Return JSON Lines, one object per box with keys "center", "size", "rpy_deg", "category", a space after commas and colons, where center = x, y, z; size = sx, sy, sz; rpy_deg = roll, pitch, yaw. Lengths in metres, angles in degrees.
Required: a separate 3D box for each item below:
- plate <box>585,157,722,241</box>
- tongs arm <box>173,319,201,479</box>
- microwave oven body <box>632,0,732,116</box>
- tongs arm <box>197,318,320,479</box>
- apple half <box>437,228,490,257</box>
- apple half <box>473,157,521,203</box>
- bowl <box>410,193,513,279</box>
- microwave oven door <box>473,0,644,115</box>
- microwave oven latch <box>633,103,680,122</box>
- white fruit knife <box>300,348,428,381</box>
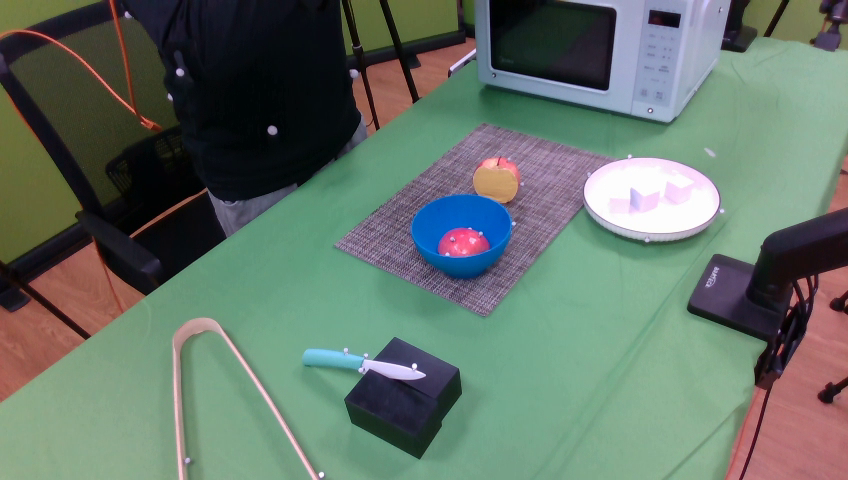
{"center": [0.367, -0.063, 0.979], "size": [0.207, 0.039, 0.206], "rpy_deg": [-4, 40, 4], "category": "plate"}
{"center": [-0.273, 0.234, 0.723], "size": [0.051, 0.026, 0.381], "rpy_deg": [-18, 40, -15], "category": "tongs arm"}
{"center": [0.377, -0.463, 1.267], "size": [0.438, 0.261, 0.327], "rpy_deg": [21, 48, 30], "category": "microwave oven body"}
{"center": [-0.200, 0.208, 0.751], "size": [0.028, 0.028, 0.384], "rpy_deg": [-31, 45, -23], "category": "tongs arm"}
{"center": [0.056, 0.002, 0.901], "size": [0.081, 0.033, 0.081], "rpy_deg": [-3, 41, 3], "category": "apple half"}
{"center": [0.128, -0.107, 1.030], "size": [0.080, 0.075, 0.053], "rpy_deg": [4, 38, 19], "category": "apple half"}
{"center": [0.058, 0.005, 0.905], "size": [0.151, 0.077, 0.150], "rpy_deg": [-4, 40, 3], "category": "bowl"}
{"center": [0.257, -0.396, 1.199], "size": [0.353, 0.245, 0.039], "rpy_deg": [21, 48, 29], "category": "microwave oven door"}
{"center": [0.443, -0.249, 1.158], "size": [0.078, 0.029, 0.030], "rpy_deg": [21, 49, 30], "category": "microwave oven latch"}
{"center": [-0.080, 0.154, 0.748], "size": [0.206, 0.027, 0.016], "rpy_deg": [1, 20, 34], "category": "white fruit knife"}
